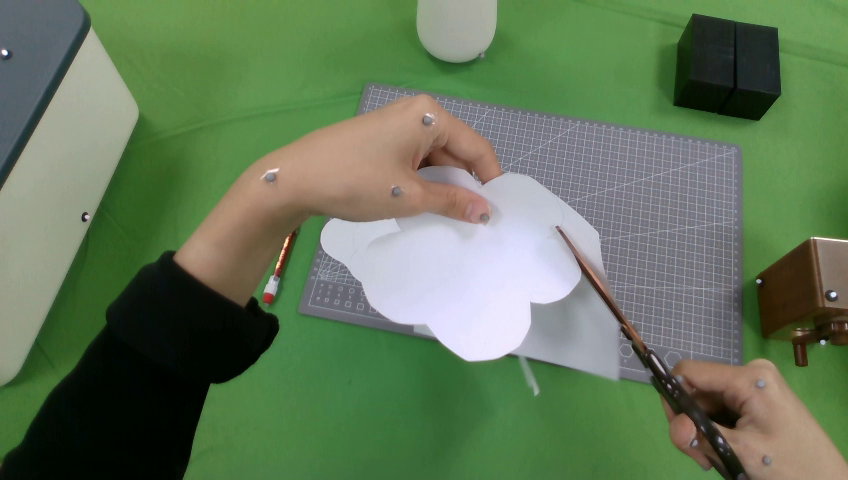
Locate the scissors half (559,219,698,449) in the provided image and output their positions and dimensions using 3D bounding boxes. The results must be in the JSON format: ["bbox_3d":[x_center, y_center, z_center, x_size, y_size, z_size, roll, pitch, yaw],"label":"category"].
[{"bbox_3d":[0.123,0.057,0.358,0.013,0.039,0.176,-34,109,5],"label":"scissors half"}]

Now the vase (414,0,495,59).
[{"bbox_3d":[0.036,-0.299,0.678,0.098,0.201,0.097,0,65,1],"label":"vase"}]

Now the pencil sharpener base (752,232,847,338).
[{"bbox_3d":[0.373,0.049,0.583,0.061,0.108,0.076,6,67,2],"label":"pencil sharpener base"}]

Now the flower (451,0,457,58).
[{"bbox_3d":[0.032,-0.345,0.607,0.044,0.365,0.038,4,49,5],"label":"flower"}]

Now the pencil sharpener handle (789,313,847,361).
[{"bbox_3d":[0.364,0.090,0.552,0.036,0.068,0.030,12,67,-10],"label":"pencil sharpener handle"}]

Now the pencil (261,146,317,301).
[{"bbox_3d":[-0.144,-0.024,0.662,0.012,0.012,0.193,11,66,5],"label":"pencil"}]

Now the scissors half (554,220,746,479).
[{"bbox_3d":[0.124,0.060,0.336,0.013,0.040,0.175,-35,85,0],"label":"scissors half"}]

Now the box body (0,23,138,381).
[{"bbox_3d":[-0.478,-0.060,0.589,0.254,0.161,0.361,10,67,4],"label":"box body"}]

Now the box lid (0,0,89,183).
[{"bbox_3d":[-0.478,-0.093,0.521,0.263,0.015,0.369,11,67,4],"label":"box lid"}]
